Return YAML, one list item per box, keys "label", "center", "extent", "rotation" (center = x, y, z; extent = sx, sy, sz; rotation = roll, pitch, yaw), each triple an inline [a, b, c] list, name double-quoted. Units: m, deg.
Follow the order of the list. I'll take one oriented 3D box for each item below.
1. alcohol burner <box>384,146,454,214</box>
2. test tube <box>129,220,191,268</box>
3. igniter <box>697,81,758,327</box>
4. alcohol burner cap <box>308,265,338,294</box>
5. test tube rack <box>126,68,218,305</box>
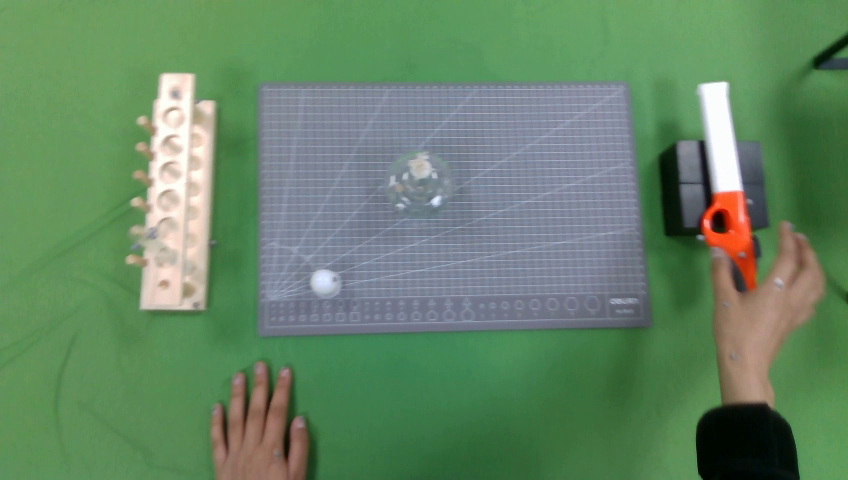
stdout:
- label: "alcohol burner"
  center: [-0.005, -0.069, 0.655]
  extent: [0.078, 0.119, 0.077]
  rotation: [0, 82, -3]
- label: "test tube"
  center: [-0.255, 0.007, 0.593]
  extent: [0.017, 0.150, 0.017]
  rotation: [2, 76, -6]
- label: "igniter"
  center: [0.334, -0.043, 0.673]
  extent: [0.057, 0.025, 0.275]
  rotation: [-3, 81, 7]
- label: "alcohol burner cap"
  center: [-0.113, 0.042, 0.667]
  extent: [0.034, 0.048, 0.033]
  rotation: [1, 81, -4]
- label: "test tube rack"
  center: [-0.274, -0.054, 0.651]
  extent: [0.067, 0.085, 0.241]
  rotation: [1, 81, -4]
